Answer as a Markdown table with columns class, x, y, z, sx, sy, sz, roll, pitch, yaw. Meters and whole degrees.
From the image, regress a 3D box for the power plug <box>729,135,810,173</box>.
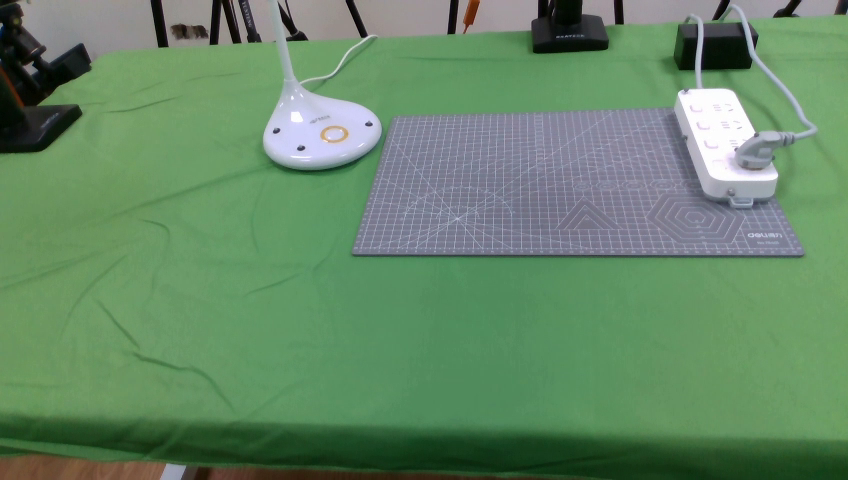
| class | x | y | z | sx | sy | sz | roll | pitch | yaw |
| --- | --- | --- | --- | --- | --- | --- | --- | --- | --- |
| power plug | 0.363 | -0.083 | 0.642 | 0.072 | 0.053 | 0.035 | 9 | 42 | 16 |

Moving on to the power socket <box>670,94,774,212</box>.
| class | x | y | z | sx | sy | sz | roll | pitch | yaw |
| --- | --- | --- | --- | --- | --- | --- | --- | --- | --- |
| power socket | 0.346 | -0.113 | 0.716 | 0.072 | 0.033 | 0.225 | 2 | 40 | 8 |

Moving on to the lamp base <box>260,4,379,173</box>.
| class | x | y | z | sx | sy | sz | roll | pitch | yaw |
| --- | --- | --- | --- | --- | --- | --- | --- | --- | --- |
| lamp base | -0.157 | -0.202 | 0.780 | 0.160 | 0.182 | 0.177 | -35 | 45 | -30 |
